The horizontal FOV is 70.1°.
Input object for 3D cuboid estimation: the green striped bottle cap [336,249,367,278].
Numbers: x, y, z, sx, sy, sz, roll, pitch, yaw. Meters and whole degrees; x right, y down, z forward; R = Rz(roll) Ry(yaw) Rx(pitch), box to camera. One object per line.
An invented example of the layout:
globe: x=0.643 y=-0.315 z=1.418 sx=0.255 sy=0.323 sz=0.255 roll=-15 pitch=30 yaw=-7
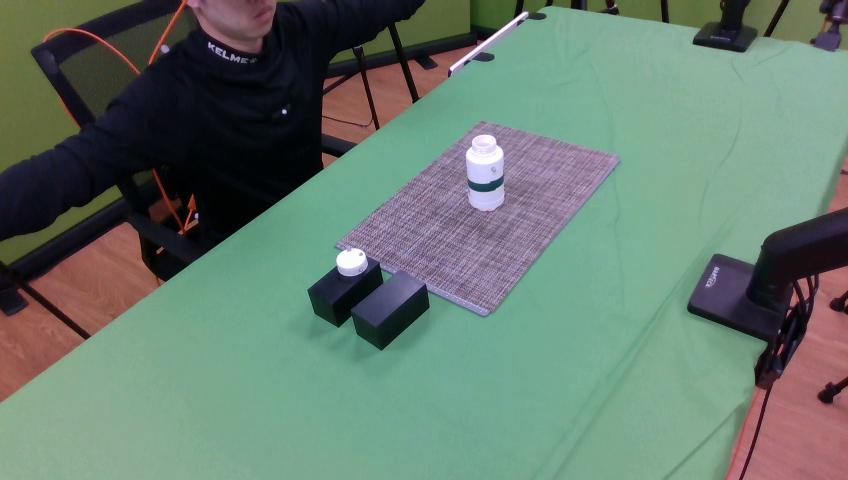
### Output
green striped bottle cap: x=-0.105 y=0.033 z=0.873 sx=0.044 sy=0.020 sz=0.044 roll=-5 pitch=42 yaw=5

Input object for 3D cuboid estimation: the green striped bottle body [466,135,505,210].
green striped bottle body: x=0.102 y=-0.114 z=1.006 sx=0.063 sy=0.120 sz=0.063 roll=-4 pitch=40 yaw=4
